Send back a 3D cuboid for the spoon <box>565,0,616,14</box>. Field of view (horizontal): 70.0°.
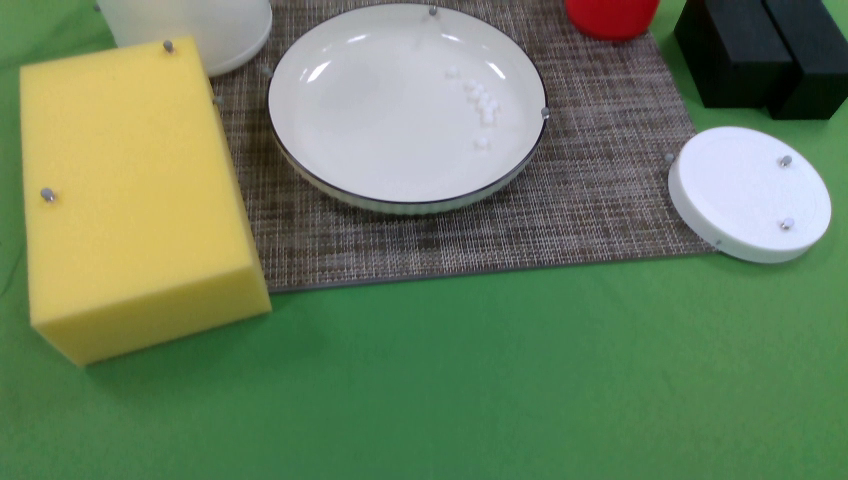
[{"bbox_3d":[0.208,-0.244,0.505,0.193,0.022,0.041,-24,48,35],"label":"spoon"}]

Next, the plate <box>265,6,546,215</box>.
[{"bbox_3d":[-0.013,-0.099,0.464,0.209,0.038,0.207,2,57,-2],"label":"plate"}]

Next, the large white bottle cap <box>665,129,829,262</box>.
[{"bbox_3d":[0.239,-0.036,0.450,0.115,0.018,0.114,3,57,-4],"label":"large white bottle cap"}]

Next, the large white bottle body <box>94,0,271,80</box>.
[{"bbox_3d":[-0.194,-0.227,0.448,0.131,0.186,0.129,1,57,-1],"label":"large white bottle body"}]

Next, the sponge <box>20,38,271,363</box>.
[{"bbox_3d":[-0.187,-0.036,0.401,0.118,0.061,0.204,-17,60,-14],"label":"sponge"}]
